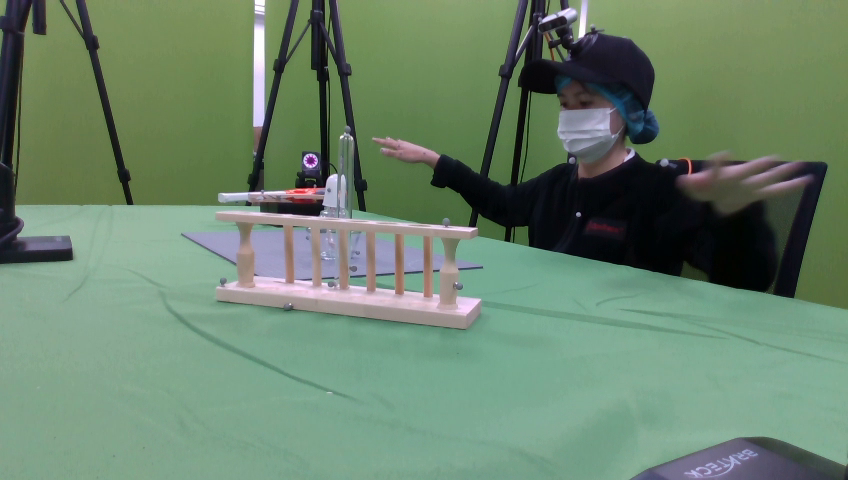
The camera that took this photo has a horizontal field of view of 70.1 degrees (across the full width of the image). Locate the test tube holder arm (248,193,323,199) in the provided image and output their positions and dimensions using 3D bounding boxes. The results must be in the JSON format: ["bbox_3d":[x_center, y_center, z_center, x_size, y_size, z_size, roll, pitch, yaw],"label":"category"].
[{"bbox_3d":[-0.268,-0.089,1.218,0.179,0.013,0.015,-6,17,-40],"label":"test tube holder arm"}]

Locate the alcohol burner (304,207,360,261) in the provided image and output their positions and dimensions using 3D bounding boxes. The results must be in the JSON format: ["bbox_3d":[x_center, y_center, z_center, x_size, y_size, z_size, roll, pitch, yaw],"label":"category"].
[{"bbox_3d":[-0.126,-0.031,0.838,0.078,0.119,0.078,3,5,0],"label":"alcohol burner"}]

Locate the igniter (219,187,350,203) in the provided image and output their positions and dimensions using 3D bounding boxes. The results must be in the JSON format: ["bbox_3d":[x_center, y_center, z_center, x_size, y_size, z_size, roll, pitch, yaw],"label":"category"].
[{"bbox_3d":[-0.285,-0.095,1.268,0.278,0.025,0.057,-6,11,-34],"label":"igniter"}]

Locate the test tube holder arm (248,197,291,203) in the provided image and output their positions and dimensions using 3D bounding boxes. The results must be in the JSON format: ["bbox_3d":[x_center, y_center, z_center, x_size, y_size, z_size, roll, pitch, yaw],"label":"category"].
[{"bbox_3d":[-0.303,-0.080,1.190,0.088,0.010,0.015,-6,17,-40],"label":"test tube holder arm"}]

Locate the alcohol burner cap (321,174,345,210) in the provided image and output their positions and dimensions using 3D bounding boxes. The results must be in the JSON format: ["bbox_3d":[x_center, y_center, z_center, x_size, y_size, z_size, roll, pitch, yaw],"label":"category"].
[{"bbox_3d":[-0.124,-0.067,0.833,0.034,0.048,0.034,7,7,-1],"label":"alcohol burner cap"}]

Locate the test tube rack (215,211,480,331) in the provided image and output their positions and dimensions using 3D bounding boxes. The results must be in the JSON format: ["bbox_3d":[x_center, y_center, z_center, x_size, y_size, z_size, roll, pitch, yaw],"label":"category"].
[{"bbox_3d":[-0.071,0.022,0.565,0.242,0.085,0.067,5,7,16],"label":"test tube rack"}]

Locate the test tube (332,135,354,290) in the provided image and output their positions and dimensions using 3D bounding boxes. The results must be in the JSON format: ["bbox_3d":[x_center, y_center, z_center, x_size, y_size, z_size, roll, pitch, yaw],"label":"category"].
[{"bbox_3d":[-0.078,-0.025,0.581,0.017,0.150,0.017,3,7,0],"label":"test tube"}]
